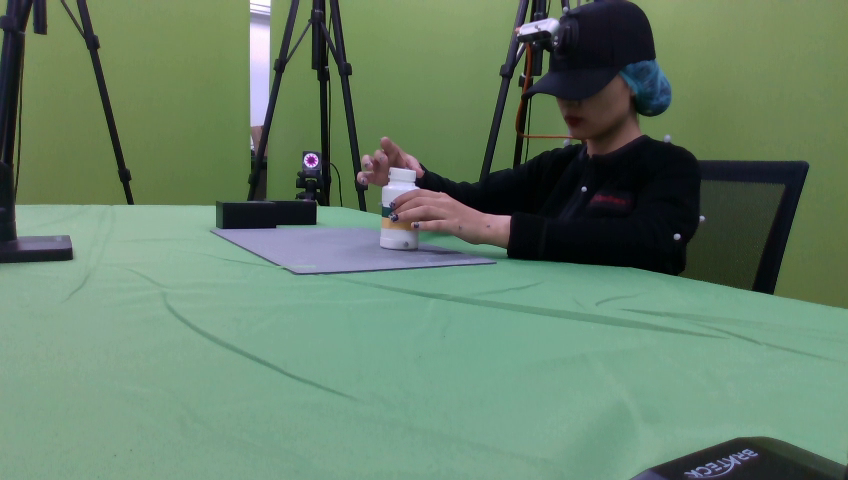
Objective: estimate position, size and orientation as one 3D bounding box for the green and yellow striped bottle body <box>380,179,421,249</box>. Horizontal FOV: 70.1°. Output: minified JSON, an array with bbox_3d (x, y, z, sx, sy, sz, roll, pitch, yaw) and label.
[{"bbox_3d":[-0.037,-0.048,0.959,0.063,0.119,0.063,3,7,0],"label":"green and yellow striped bottle body"}]

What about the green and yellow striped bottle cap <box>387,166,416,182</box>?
[{"bbox_3d":[-0.035,-0.104,0.952,0.045,0.020,0.045,9,7,-1],"label":"green and yellow striped bottle cap"}]
